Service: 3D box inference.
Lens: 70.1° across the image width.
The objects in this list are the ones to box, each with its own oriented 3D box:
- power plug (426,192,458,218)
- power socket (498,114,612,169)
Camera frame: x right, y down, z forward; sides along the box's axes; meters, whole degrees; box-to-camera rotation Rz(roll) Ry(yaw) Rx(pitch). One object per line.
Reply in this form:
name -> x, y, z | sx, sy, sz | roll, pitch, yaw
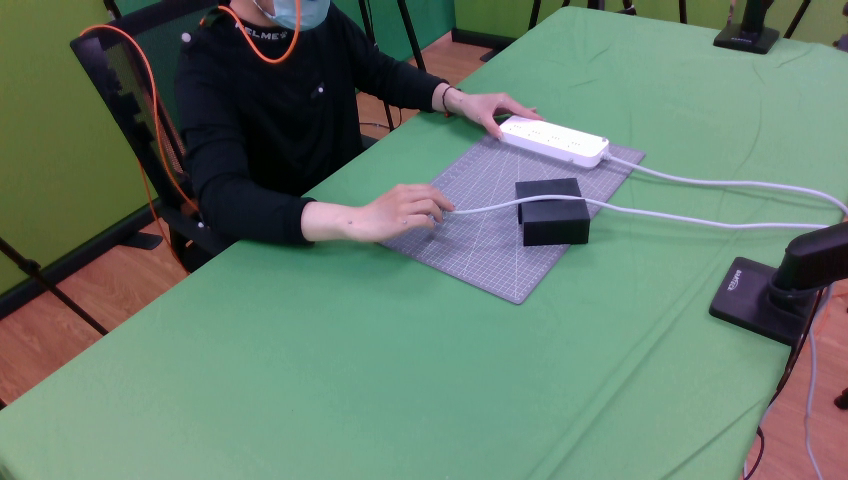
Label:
power plug -> 0.032, -0.048, 0.994 | 0.035, 0.053, 0.072 | -45, 67, 14
power socket -> 0.240, -0.189, 1.142 | 0.225, 0.033, 0.072 | 25, 51, 32
